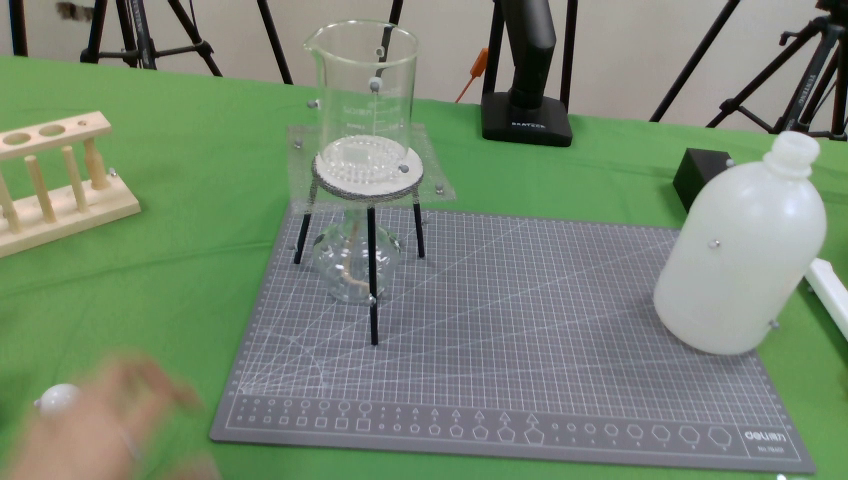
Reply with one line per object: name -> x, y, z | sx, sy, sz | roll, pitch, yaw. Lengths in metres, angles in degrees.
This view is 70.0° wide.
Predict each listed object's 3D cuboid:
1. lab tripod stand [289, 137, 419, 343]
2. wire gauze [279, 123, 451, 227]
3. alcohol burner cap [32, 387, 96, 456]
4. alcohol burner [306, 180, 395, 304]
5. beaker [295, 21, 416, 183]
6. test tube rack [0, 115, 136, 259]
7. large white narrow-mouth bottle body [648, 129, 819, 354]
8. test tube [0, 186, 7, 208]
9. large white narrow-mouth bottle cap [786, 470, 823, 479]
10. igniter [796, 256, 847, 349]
lab tripod stand -> -0.053, -0.007, 0.520 | 0.148, 0.132, 0.147 | 5, 40, -4
wire gauze -> -0.051, -0.059, 0.481 | 0.122, 0.011, 0.123 | -6, 45, -12
alcohol burner cap -> -0.247, 0.121, 0.412 | 0.034, 0.048, 0.033 | 6, 39, -4
alcohol burner -> -0.063, -0.002, 0.528 | 0.078, 0.120, 0.077 | 6, 38, -4
beaker -> -0.051, -0.100, 0.452 | 0.084, 0.101, 0.073 | 0, 41, -8
test tube rack -> -0.403, -0.032, 0.543 | 0.243, 0.086, 0.066 | -25, 49, -33
large white narrow-mouth bottle body -> 0.264, -0.001, 0.509 | 0.102, 0.196, 0.101 | 3, 39, -2
test tube -> -0.395, -0.087, 0.533 | 0.017, 0.151, 0.017 | 5, 35, -3
large white narrow-mouth bottle cap -> 0.268, 0.184, 0.426 | 0.038, 0.024, 0.037 | 4, 39, -3
igniter -> 0.396, 0.109, 0.530 | 0.057, 0.025, 0.274 | 13, 38, -8
